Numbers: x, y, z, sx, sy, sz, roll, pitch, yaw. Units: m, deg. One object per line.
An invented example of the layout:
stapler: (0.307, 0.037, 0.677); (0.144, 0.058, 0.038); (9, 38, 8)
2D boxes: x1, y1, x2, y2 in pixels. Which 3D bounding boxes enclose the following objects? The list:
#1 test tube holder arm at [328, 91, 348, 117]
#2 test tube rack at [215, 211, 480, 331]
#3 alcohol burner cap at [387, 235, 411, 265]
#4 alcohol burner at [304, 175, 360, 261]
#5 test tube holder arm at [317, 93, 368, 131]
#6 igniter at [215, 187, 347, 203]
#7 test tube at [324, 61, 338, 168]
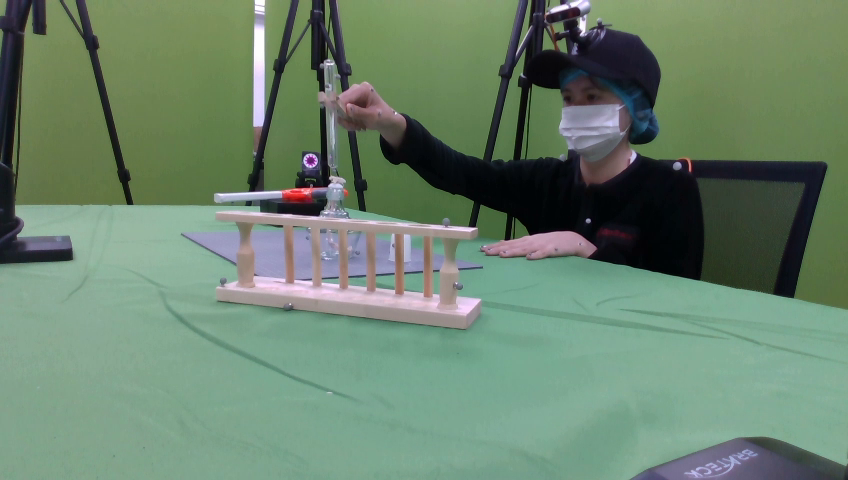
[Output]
test tube holder arm: (-0.122, -0.192, 0.861); (0.010, 0.015, 0.088); (-4, -4, 5)
test tube rack: (-0.071, 0.022, 0.565); (0.242, 0.085, 0.067); (5, 7, 16)
alcohol burner cap: (-0.035, 0.009, 0.839); (0.034, 0.048, 0.034); (2, 6, 0)
alcohol burner: (-0.126, -0.031, 0.838); (0.078, 0.119, 0.078); (3, 5, 0)
test tube holder arm: (-0.119, -0.189, 0.906); (0.013, 0.015, 0.179); (-4, -4, 13)
igniter: (-0.293, -0.095, 1.267); (0.278, 0.025, 0.057); (-6, 12, -34)
test tube: (-0.129, -0.174, 0.837); (0.017, 0.150, 0.017); (-2, -4, 0)
